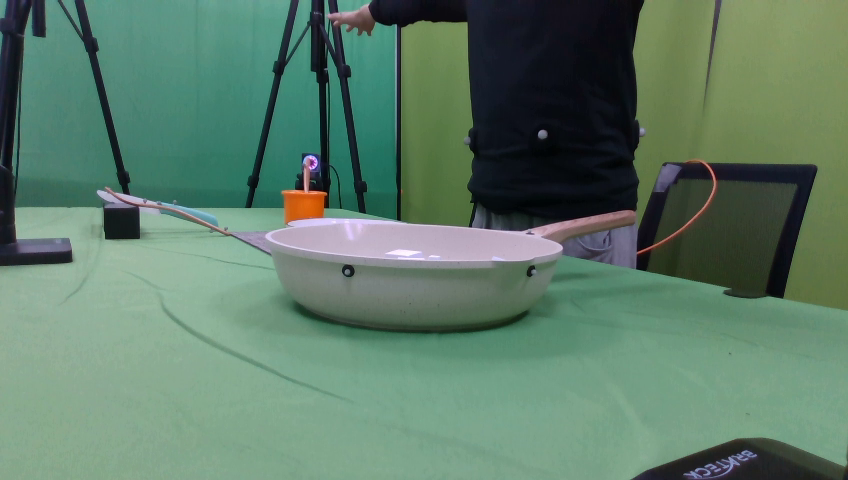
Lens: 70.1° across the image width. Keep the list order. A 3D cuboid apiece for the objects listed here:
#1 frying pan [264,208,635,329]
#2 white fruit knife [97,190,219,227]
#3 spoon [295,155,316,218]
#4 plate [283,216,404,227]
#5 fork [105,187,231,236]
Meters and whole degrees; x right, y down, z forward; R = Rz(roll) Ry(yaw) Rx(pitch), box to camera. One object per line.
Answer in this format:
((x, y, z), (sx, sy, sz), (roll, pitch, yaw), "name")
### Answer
((0.075, 0.007, 0.667), (0.490, 0.102, 0.305), (-12, 15, -33), "frying pan")
((-0.468, -0.056, 1.079), (0.208, 0.027, 0.016), (15, -2, -29), "white fruit knife")
((-0.247, -0.108, 1.261), (0.042, 0.021, 0.193), (5, 46, -16), "spoon")
((-0.119, -0.009, 0.968), (0.208, 0.039, 0.207), (3, 7, 0), "plate")
((-0.428, -0.046, 1.021), (0.208, 0.018, 0.028), (19, -7, -26), "fork")
